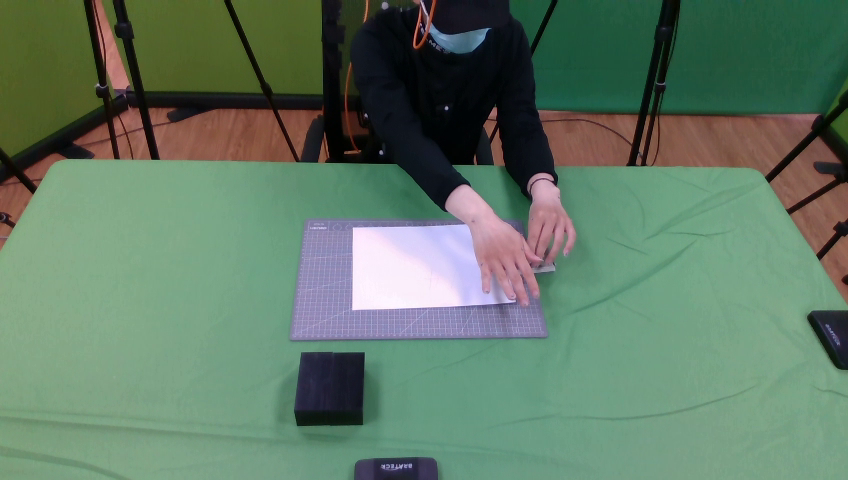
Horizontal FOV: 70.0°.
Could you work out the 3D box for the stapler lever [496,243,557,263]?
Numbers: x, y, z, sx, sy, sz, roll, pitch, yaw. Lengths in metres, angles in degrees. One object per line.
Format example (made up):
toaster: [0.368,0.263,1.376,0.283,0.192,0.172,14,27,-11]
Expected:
stapler lever: [0.195,0.023,1.146,0.118,0.040,0.026,-4,49,-9]

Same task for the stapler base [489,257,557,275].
stapler base: [0.191,0.041,1.163,0.131,0.024,0.041,-4,49,-10]
